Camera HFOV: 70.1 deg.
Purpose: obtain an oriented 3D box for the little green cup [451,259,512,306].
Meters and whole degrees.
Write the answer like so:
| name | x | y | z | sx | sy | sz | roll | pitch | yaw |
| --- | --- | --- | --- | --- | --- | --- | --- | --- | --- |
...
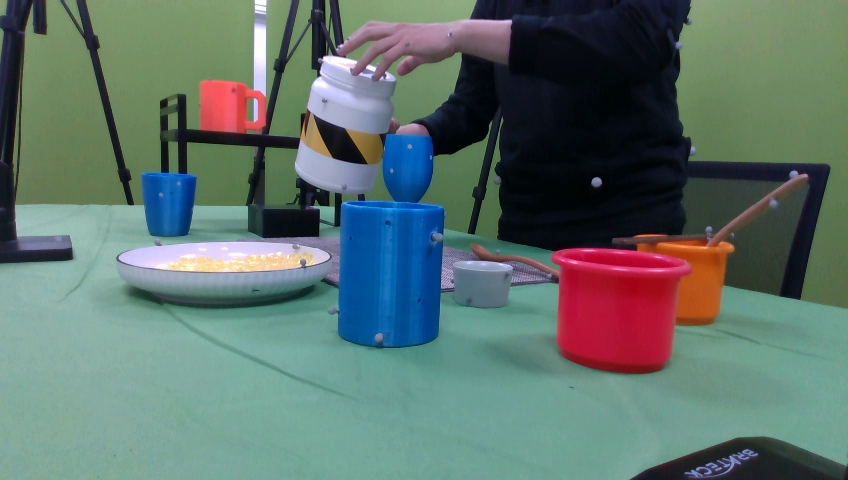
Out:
| name | x | y | z | sx | sy | sz | roll | pitch | yaw |
| --- | --- | --- | --- | --- | --- | --- | --- | --- | --- |
| little green cup | 0.057 | 0.043 | 0.611 | 0.061 | 0.038 | 0.061 | 3 | 8 | 0 |

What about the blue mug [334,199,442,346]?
| name | x | y | z | sx | sy | sz | roll | pitch | yaw |
| --- | --- | --- | --- | --- | --- | --- | --- | --- | --- |
| blue mug | -0.034 | 0.020 | 0.498 | 0.083 | 0.106 | 0.116 | 0 | 7 | -20 |

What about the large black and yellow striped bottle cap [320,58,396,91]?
| name | x | y | z | sx | sy | sz | roll | pitch | yaw |
| --- | --- | --- | --- | --- | --- | --- | --- | --- | --- |
| large black and yellow striped bottle cap | -0.100 | -0.253 | 0.922 | 0.115 | 0.019 | 0.115 | 14 | 23 | -6 |

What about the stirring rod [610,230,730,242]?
| name | x | y | z | sx | sy | sz | roll | pitch | yaw |
| --- | --- | --- | --- | --- | --- | --- | --- | --- | --- |
| stirring rod | 0.241 | -0.005 | 0.582 | 0.177 | 0.006 | 0.014 | -3 | 10 | -33 |

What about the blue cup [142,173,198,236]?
| name | x | y | z | sx | sy | sz | roll | pitch | yaw |
| --- | --- | --- | --- | --- | --- | --- | --- | --- | --- |
| blue cup | -0.425 | -0.060 | 1.014 | 0.093 | 0.100 | 0.092 | 4 | 9 | 0 |

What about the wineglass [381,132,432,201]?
| name | x | y | z | sx | sy | sz | roll | pitch | yaw |
| --- | --- | --- | --- | --- | --- | --- | --- | --- | --- |
| wineglass | -0.026 | -0.062 | 0.841 | 0.074 | 0.172 | 0.073 | 2 | 7 | 0 |

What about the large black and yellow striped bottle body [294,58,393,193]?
| name | x | y | z | sx | sy | sz | roll | pitch | yaw |
| --- | --- | --- | --- | --- | --- | --- | --- | --- | --- |
| large black and yellow striped bottle body | -0.124 | -0.181 | 0.955 | 0.131 | 0.184 | 0.130 | 15 | 23 | -6 |

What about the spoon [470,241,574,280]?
| name | x | y | z | sx | sy | sz | roll | pitch | yaw |
| --- | --- | --- | --- | --- | --- | --- | --- | --- | --- |
| spoon | 0.124 | 0.025 | 0.800 | 0.042 | 0.021 | 0.192 | 23 | -5 | -34 |

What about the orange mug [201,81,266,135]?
| name | x | y | z | sx | sy | sz | roll | pitch | yaw |
| --- | --- | --- | --- | --- | --- | --- | --- | --- | --- |
| orange mug | -0.376 | -0.260 | 1.198 | 0.126 | 0.101 | 0.083 | -3 | 8 | -6 |

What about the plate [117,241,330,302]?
| name | x | y | z | sx | sy | sz | roll | pitch | yaw |
| --- | --- | --- | --- | --- | --- | --- | --- | --- | --- |
| plate | -0.203 | 0.031 | 0.630 | 0.209 | 0.038 | 0.209 | 3 | 7 | 0 |

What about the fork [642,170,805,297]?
| name | x | y | z | sx | sy | sz | roll | pitch | yaw |
| --- | --- | --- | --- | --- | --- | --- | --- | --- | --- |
| fork | 0.261 | 0.003 | 0.545 | 0.028 | 0.018 | 0.207 | 5 | -37 | -15 |
